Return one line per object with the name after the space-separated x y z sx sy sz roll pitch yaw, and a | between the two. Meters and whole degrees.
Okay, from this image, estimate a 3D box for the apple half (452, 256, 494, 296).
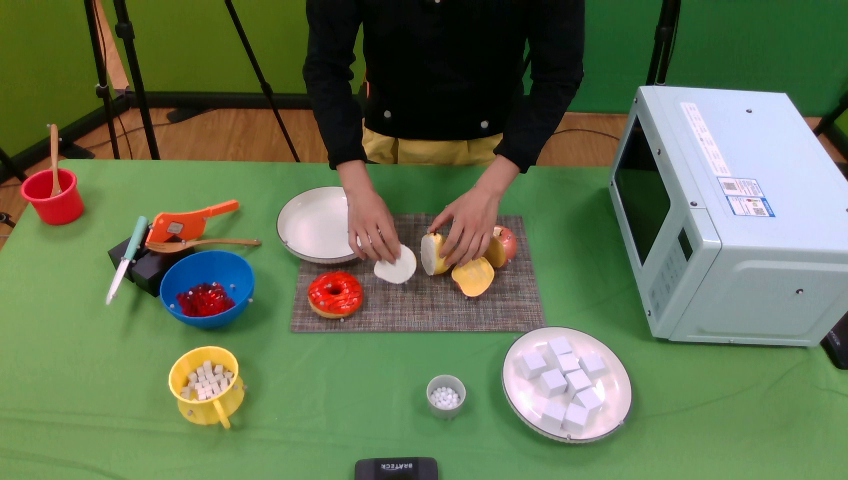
0.095 0.070 1.120 0.081 0.033 0.081 -7 63 14 | apple half

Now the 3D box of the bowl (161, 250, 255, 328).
-0.362 0.097 1.040 0.151 0.077 0.150 2 45 -2 | bowl

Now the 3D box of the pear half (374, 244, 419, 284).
-0.046 0.043 1.085 0.088 0.031 0.070 -18 82 25 | pear half

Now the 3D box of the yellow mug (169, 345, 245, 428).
-0.322 0.230 0.922 0.100 0.064 0.130 -24 53 -25 | yellow mug

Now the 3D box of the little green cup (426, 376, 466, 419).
0.033 0.248 0.950 0.061 0.039 0.061 2 46 -2 | little green cup

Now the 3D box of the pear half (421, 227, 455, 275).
0.030 0.012 1.122 0.056 0.110 0.076 -19 55 -20 | pear half

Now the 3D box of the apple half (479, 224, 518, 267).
0.148 0.008 1.160 0.053 0.075 0.080 -24 48 -30 | apple half

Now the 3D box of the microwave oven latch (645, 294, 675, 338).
0.411 0.134 1.061 0.030 0.029 0.078 3 45 0 | microwave oven latch

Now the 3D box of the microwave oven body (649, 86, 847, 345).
0.567 -0.053 1.118 0.326 0.261 0.439 2 45 -1 | microwave oven body

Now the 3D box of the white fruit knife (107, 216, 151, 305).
-0.518 0.032 1.066 0.027 0.016 0.206 -18 45 19 | white fruit knife

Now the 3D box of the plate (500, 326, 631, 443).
0.224 0.233 0.978 0.208 0.039 0.206 2 46 -2 | plate

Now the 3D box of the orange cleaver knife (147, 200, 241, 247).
-0.435 -0.033 1.157 0.012 0.077 0.211 31 26 19 | orange cleaver knife

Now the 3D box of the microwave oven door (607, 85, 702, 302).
0.423 -0.094 1.140 0.039 0.245 0.353 2 46 -1 | microwave oven door

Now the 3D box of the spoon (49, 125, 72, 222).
-0.717 -0.131 1.189 0.042 0.021 0.193 -3 90 -8 | spoon

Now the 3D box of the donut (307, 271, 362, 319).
-0.157 0.097 1.072 0.099 0.048 0.098 4 45 -4 | donut

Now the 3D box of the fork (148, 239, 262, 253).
-0.398 0.008 1.117 0.208 0.019 0.028 -5 34 -37 | fork

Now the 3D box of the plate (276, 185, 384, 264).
-0.184 -0.027 1.195 0.209 0.038 0.208 2 46 -2 | plate
